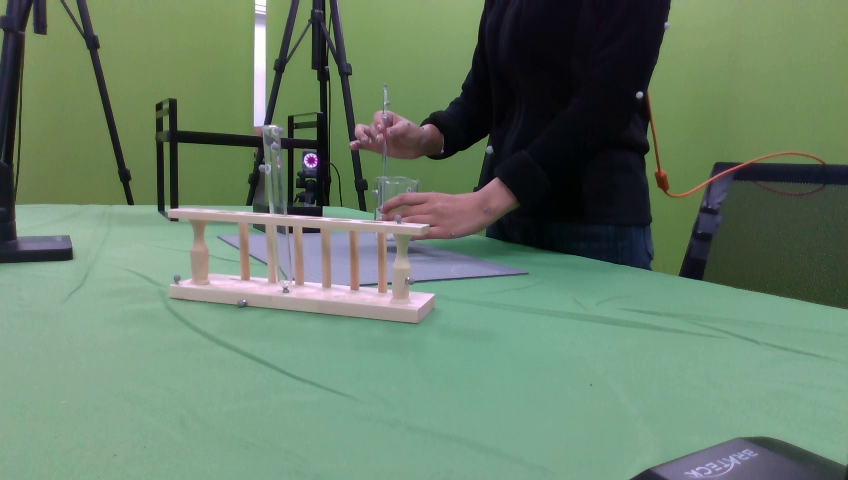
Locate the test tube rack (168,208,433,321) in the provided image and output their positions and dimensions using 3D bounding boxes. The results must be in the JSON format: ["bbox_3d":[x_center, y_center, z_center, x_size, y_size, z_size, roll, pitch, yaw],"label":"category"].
[{"bbox_3d":[-0.115,0.017,0.574,0.242,0.085,0.067,4,8,13],"label":"test tube rack"}]

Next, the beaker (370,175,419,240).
[{"bbox_3d":[-0.043,-0.049,0.949,0.083,0.100,0.074,1,0,42],"label":"beaker"}]

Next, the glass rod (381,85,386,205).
[{"bbox_3d":[-0.064,-0.153,0.966,0.008,0.199,0.008,-1,-10,0],"label":"glass rod"}]

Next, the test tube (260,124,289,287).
[{"bbox_3d":[-0.137,-0.031,0.556,0.017,0.150,0.017,-3,6,1],"label":"test tube"}]
